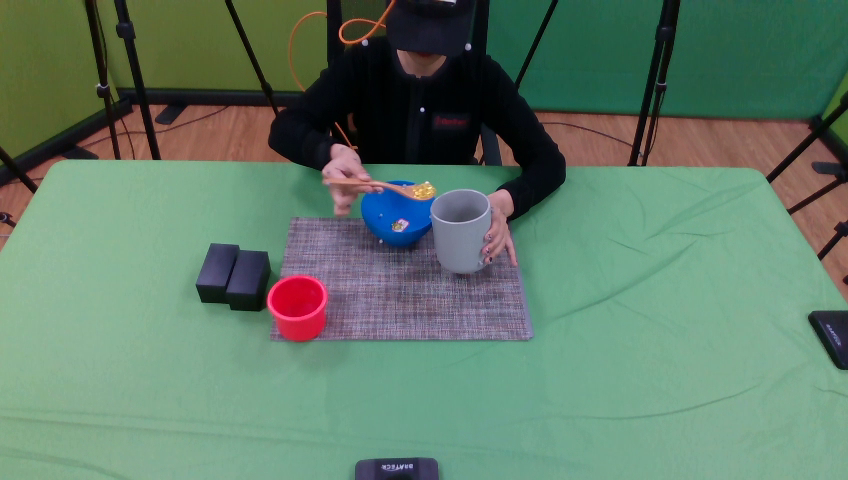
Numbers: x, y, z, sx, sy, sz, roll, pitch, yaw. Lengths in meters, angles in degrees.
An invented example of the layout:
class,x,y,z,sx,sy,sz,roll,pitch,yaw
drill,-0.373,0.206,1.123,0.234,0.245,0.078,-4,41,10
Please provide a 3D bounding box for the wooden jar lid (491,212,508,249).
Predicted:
class,x,y,z,sx,sy,sz,roll,pitch,yaw
wooden jar lid,0.115,-0.018,1.220,0.108,0.021,0.107,3,47,-3

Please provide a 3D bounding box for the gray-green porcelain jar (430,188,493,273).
class,x,y,z,sx,sy,sz,roll,pitch,yaw
gray-green porcelain jar,0.070,-0.013,1.085,0.106,0.127,0.105,-5,39,5

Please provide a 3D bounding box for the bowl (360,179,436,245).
class,x,y,z,sx,sy,sz,roll,pitch,yaw
bowl,-0.049,-0.042,1.190,0.151,0.077,0.150,2,46,-2

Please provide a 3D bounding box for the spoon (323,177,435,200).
class,x,y,z,sx,sy,sz,roll,pitch,yaw
spoon,-0.072,-0.091,1.007,0.194,0.022,0.041,8,42,-25
